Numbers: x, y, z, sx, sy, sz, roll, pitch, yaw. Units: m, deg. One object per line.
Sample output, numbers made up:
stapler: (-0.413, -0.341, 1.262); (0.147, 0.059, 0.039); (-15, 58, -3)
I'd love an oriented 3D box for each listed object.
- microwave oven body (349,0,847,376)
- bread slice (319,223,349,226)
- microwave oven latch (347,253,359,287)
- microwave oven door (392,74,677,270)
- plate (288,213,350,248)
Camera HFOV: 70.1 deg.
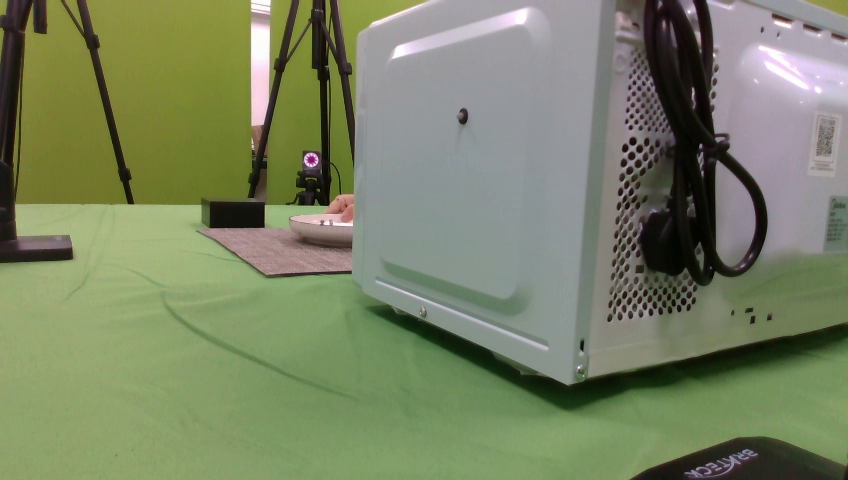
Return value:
microwave oven body: (0.199, -0.053, 0.540); (0.444, 0.260, 0.324); (-1, 7, -32)
bread slice: (-0.122, -0.015, 1.004); (0.131, 0.019, 0.105); (4, 7, 12)
microwave oven latch: (-0.034, 0.028, 0.581); (0.079, 0.029, 0.030); (-1, 7, -31)
microwave oven door: (0.137, -0.094, 0.805); (0.355, 0.243, 0.039); (4, 8, 10)
plate: (-0.122, -0.017, 1.008); (0.209, 0.038, 0.209); (3, 8, 0)
